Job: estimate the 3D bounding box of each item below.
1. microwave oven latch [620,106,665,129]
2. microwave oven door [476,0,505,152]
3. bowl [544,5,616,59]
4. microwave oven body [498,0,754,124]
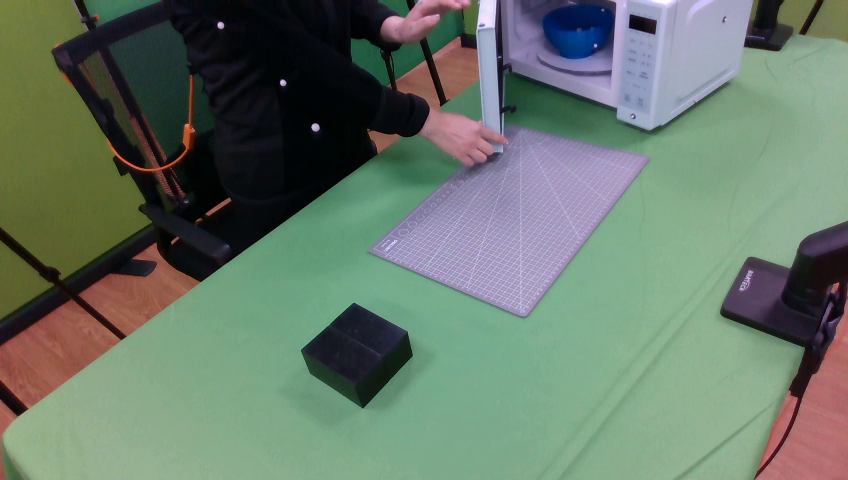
[{"bbox_3d":[0.412,-0.237,1.146,0.030,0.029,0.078,-32,44,-23],"label":"microwave oven latch"},{"bbox_3d":[0.136,-0.373,1.202,0.039,0.245,0.354,-2,41,10],"label":"microwave oven door"},{"bbox_3d":[0.332,-0.441,1.302,0.151,0.077,0.150,-3,39,3],"label":"bowl"},{"bbox_3d":[0.402,-0.458,1.259,0.327,0.261,0.437,-33,45,-24],"label":"microwave oven body"}]
